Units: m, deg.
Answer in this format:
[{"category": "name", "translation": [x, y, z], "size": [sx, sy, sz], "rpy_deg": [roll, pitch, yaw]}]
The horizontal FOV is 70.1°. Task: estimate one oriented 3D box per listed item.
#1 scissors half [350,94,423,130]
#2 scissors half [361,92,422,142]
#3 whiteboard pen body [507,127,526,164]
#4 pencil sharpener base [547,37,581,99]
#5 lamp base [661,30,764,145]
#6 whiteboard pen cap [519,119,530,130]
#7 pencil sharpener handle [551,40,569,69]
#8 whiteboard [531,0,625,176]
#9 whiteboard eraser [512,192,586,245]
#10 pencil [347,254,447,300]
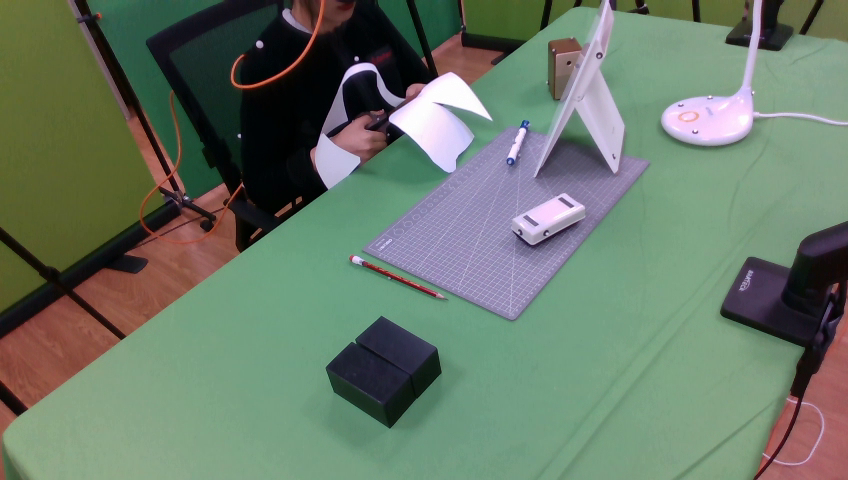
[{"category": "scissors half", "translation": [-0.078, -0.266, 1.234], "size": [0.174, 0.040, 0.013], "rpy_deg": [-16, 43, 23]}, {"category": "scissors half", "translation": [-0.065, -0.253, 1.245], "size": [0.174, 0.040, 0.012], "rpy_deg": [-34, 29, 35]}, {"category": "whiteboard pen body", "translation": [0.181, -0.189, 1.162], "size": [0.017, 0.017, 0.140], "rpy_deg": [7, 42, 19]}, {"category": "pencil sharpener base", "translation": [0.299, -0.368, 1.290], "size": [0.061, 0.107, 0.076], "rpy_deg": [-8, 40, 2]}, {"category": "lamp base", "translation": [0.535, -0.287, 1.096], "size": [0.179, 0.181, 0.159], "rpy_deg": [-10, 40, -4]}, {"category": "whiteboard pen cap", "translation": [0.199, -0.226, 1.204], "size": [0.018, 0.018, 0.033], "rpy_deg": [7, 41, 18]}, {"category": "pencil sharpener handle", "translation": [0.291, -0.409, 1.320], "size": [0.036, 0.068, 0.030], "rpy_deg": [2, 40, -6]}, {"category": "whiteboard", "translation": [0.320, -0.258, 1.050], "size": [0.144, 0.306, 0.217], "rpy_deg": [22, 45, 5]}, {"category": "whiteboard eraser", "translation": [0.199, -0.032, 0.962], "size": [0.113, 0.042, 0.055], "rpy_deg": [-27, 43, -20]}, {"category": "pencil", "translation": [-0.044, 0.058, 0.933], "size": [0.192, 0.012, 0.012], "rpy_deg": [22, 49, 29]}]
